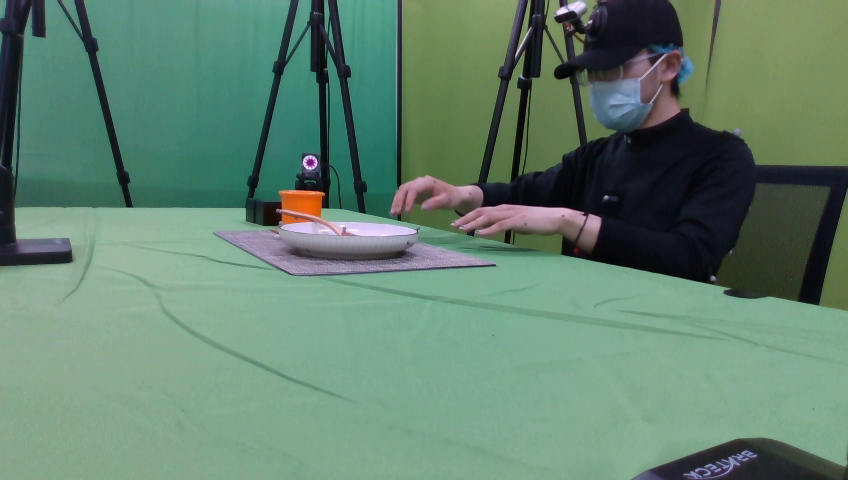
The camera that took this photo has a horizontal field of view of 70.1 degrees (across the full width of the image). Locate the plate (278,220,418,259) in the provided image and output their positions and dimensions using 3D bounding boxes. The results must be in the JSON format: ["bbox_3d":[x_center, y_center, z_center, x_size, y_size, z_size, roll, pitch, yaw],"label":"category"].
[{"bbox_3d":[-0.114,-0.002,0.914,0.209,0.038,0.209,2,7,0],"label":"plate"}]

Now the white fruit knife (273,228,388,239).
[{"bbox_3d":[-0.158,-0.009,1.055,0.208,0.016,0.027,-3,-22,-23],"label":"white fruit knife"}]

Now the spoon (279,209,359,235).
[{"bbox_3d":[-0.163,-0.027,0.976,0.193,0.021,0.042,21,18,30],"label":"spoon"}]

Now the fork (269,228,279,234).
[{"bbox_3d":[-0.174,-0.017,1.084,0.208,0.018,0.028,-3,-3,-30],"label":"fork"}]
